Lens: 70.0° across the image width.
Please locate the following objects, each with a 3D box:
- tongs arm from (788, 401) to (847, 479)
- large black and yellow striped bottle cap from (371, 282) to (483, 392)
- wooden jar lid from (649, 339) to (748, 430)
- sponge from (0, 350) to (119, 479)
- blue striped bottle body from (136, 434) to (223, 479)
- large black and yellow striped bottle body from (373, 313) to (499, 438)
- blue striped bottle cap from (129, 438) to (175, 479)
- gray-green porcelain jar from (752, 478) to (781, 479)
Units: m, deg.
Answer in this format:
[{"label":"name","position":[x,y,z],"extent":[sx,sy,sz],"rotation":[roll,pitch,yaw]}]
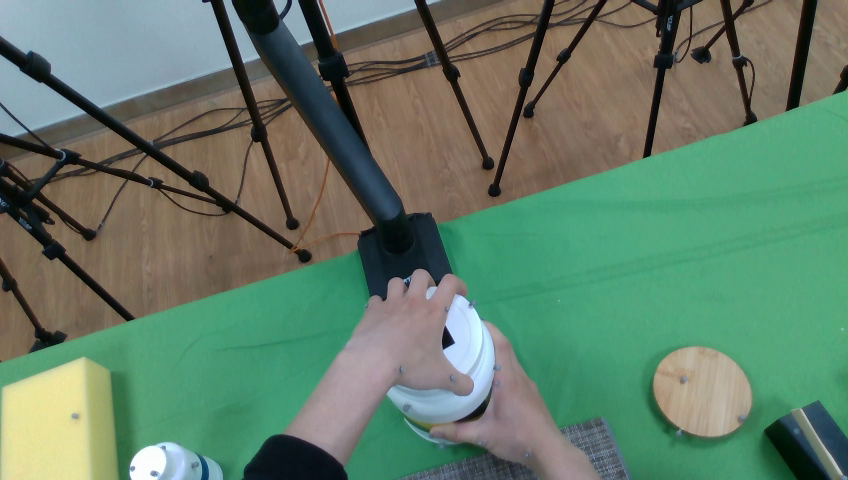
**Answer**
[{"label":"tongs arm","position":[0.471,0.324,0.560],"extent":[0.051,0.027,0.381],"rotation":[-21,69,-4]},{"label":"large black and yellow striped bottle cap","position":[0.003,0.096,0.614],"extent":[0.115,0.019,0.114],"rotation":[-5,57,8]},{"label":"wooden jar lid","position":[0.323,0.171,0.716],"extent":[0.108,0.021,0.107],"rotation":[-4,62,8]},{"label":"sponge","position":[-0.471,0.261,0.781],"extent":[0.118,0.061,0.204],"rotation":[-22,60,-3]},{"label":"blue striped bottle body","position":[-0.291,0.267,0.711],"extent":[0.063,0.122,0.062],"rotation":[-4,60,8]},{"label":"large black and yellow striped bottle body","position":[0.016,0.141,0.692],"extent":[0.130,0.186,0.129],"rotation":[-4,59,8]},{"label":"blue striped bottle cap","position":[-0.300,0.241,0.668],"extent":[0.044,0.021,0.044],"rotation":[-4,62,7]},{"label":"gray-green porcelain jar","position":[0.323,0.294,0.584],"extent":[0.106,0.128,0.105],"rotation":[-4,60,8]}]
